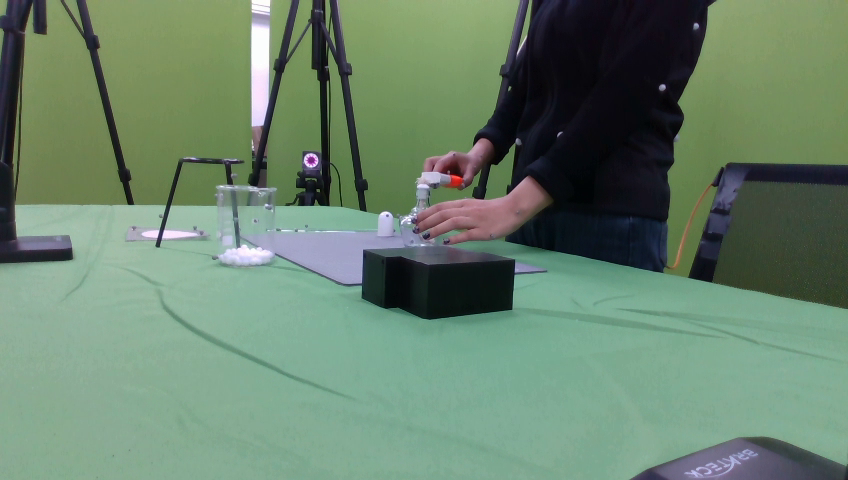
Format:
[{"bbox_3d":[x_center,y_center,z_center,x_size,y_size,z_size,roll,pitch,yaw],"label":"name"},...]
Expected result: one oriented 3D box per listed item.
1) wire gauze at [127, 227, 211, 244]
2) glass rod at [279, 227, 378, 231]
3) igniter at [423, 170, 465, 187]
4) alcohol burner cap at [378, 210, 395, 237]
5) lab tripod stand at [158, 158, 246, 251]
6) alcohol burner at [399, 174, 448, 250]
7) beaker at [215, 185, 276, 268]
[{"bbox_3d":[-0.420,-0.010,0.999,0.122,0.011,0.124,-2,10,-24],"label":"wire gauze"},{"bbox_3d":[-0.175,-0.021,1.161,0.200,0.008,0.008,0,7,-15],"label":"glass rod"},{"bbox_3d":[0.040,-0.111,1.099,0.057,0.025,0.277,2,4,11],"label":"igniter"},{"bbox_3d":[-0.069,-0.031,1.112,0.034,0.048,0.034,1,8,0],"label":"alcohol burner cap"},{"bbox_3d":[-0.314,-0.055,0.891,0.148,0.131,0.148,2,9,0],"label":"lab tripod stand"},{"bbox_3d":[-0.001,-0.044,0.962,0.078,0.119,0.078,0,8,0],"label":"alcohol burner"},{"bbox_3d":[-0.226,-0.019,0.773,0.074,0.100,0.084,5,7,14],"label":"beaker"}]
